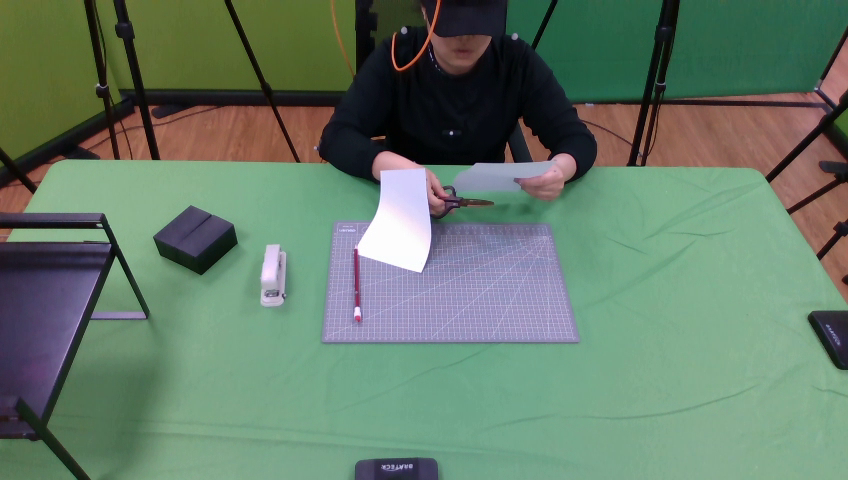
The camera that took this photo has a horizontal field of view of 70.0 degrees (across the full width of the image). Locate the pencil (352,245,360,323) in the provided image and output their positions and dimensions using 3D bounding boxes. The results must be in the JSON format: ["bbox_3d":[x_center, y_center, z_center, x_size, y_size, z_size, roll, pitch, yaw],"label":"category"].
[{"bbox_3d":[-0.127,0.076,1.120,0.012,0.012,0.192,-2,44,-7],"label":"pencil"}]

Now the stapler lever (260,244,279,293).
[{"bbox_3d":[-0.279,0.045,1.096,0.027,0.040,0.117,-2,44,-9],"label":"stapler lever"}]

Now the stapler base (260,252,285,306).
[{"bbox_3d":[-0.279,0.064,1.113,0.041,0.024,0.129,-2,44,-9],"label":"stapler base"}]

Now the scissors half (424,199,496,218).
[{"bbox_3d":[0.067,-0.063,1.170,0.174,0.013,0.040,-1,62,41],"label":"scissors half"}]

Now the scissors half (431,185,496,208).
[{"bbox_3d":[0.076,-0.080,1.175,0.174,0.013,0.040,22,73,48],"label":"scissors half"}]
